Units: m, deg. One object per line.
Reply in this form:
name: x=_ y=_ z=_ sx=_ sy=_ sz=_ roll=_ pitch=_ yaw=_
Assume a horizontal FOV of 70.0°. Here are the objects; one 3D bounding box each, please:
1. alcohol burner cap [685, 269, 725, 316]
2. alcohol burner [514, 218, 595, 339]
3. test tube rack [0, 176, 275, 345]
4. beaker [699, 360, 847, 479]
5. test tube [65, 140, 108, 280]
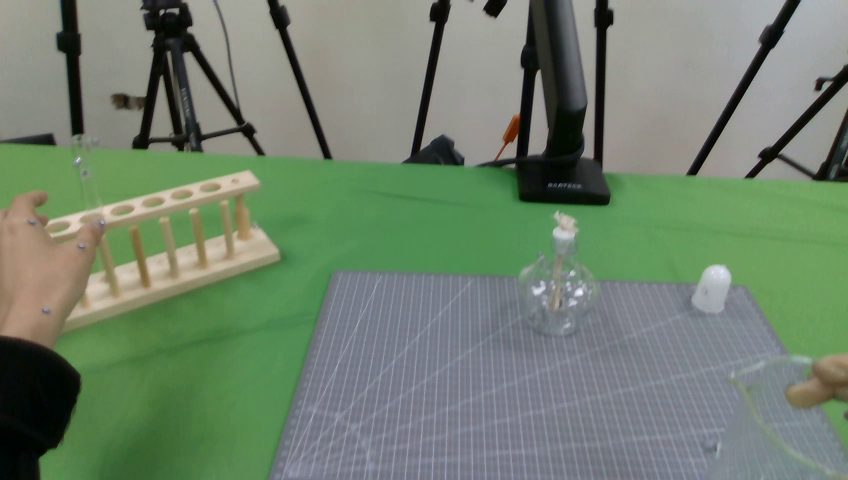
alcohol burner cap: x=0.290 y=0.051 z=0.621 sx=0.034 sy=0.048 sz=0.033 roll=1 pitch=33 yaw=0
alcohol burner: x=0.125 y=0.034 z=0.575 sx=0.078 sy=0.120 sz=0.077 roll=0 pitch=32 yaw=0
test tube rack: x=-0.284 y=0.013 z=0.621 sx=0.243 sy=0.086 sz=0.066 roll=-20 pitch=39 yaw=-29
beaker: x=0.177 y=0.119 z=0.299 sx=0.083 sy=0.101 sz=0.074 roll=26 pitch=41 yaw=32
test tube: x=-0.325 y=-0.024 z=0.586 sx=0.017 sy=0.151 sz=0.017 roll=5 pitch=30 yaw=-3
